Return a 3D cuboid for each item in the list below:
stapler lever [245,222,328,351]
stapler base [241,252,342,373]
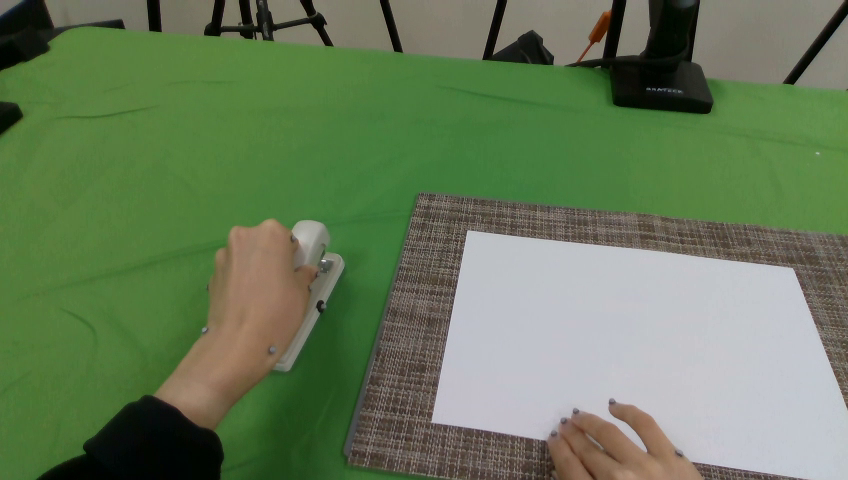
[{"bbox_3d":[-0.109,0.033,0.487,0.027,0.040,0.117,8,45,13],"label":"stapler lever"},{"bbox_3d":[-0.108,0.050,0.506,0.041,0.024,0.129,8,44,13],"label":"stapler base"}]
